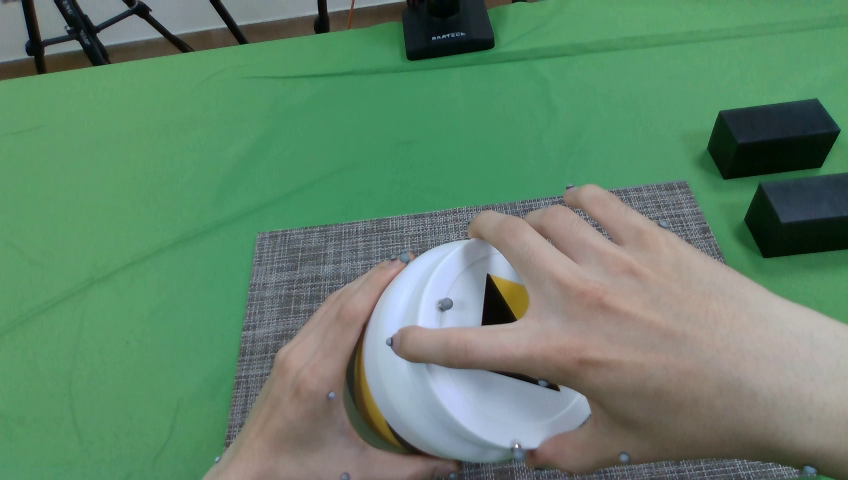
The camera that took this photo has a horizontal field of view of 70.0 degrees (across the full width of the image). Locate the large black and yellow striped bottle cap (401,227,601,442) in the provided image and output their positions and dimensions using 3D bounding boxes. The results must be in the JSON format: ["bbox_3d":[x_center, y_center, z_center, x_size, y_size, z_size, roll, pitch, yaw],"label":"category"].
[{"bbox_3d":[0.044,0.049,0.326,0.115,0.019,0.114,7,73,-22],"label":"large black and yellow striped bottle cap"}]

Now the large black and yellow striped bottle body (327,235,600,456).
[{"bbox_3d":[0.017,0.072,0.400,0.131,0.184,0.130,6,73,-20],"label":"large black and yellow striped bottle body"}]
